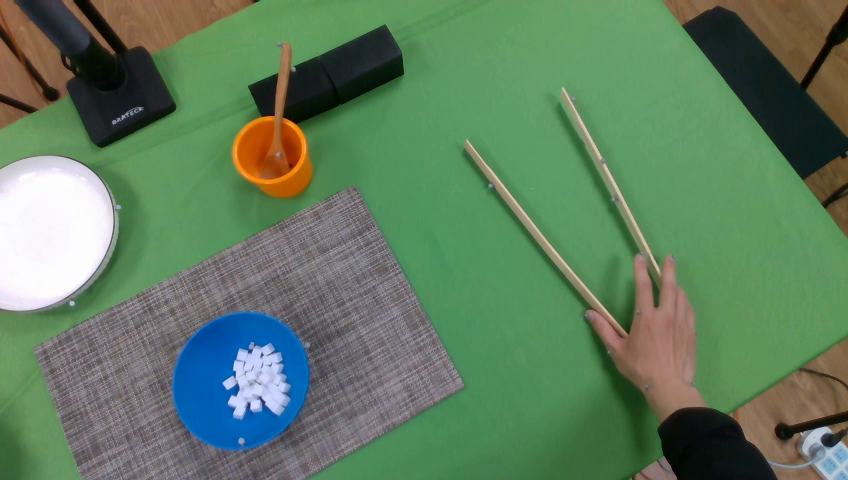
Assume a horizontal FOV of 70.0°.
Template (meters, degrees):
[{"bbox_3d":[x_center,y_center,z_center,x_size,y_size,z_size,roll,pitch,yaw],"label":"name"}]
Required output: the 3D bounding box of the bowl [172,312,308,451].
[{"bbox_3d":[-0.202,0.164,0.703,0.151,0.077,0.150,0,74,1],"label":"bowl"}]

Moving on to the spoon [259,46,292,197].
[{"bbox_3d":[-0.181,-0.143,0.755,0.041,0.021,0.195,20,121,9],"label":"spoon"}]

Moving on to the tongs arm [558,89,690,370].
[{"bbox_3d":[0.242,-0.021,0.774,0.051,0.026,0.382,-24,77,-5],"label":"tongs arm"}]

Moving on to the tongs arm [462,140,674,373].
[{"bbox_3d":[0.171,0.018,0.769,0.028,0.028,0.385,-36,78,-11],"label":"tongs arm"}]

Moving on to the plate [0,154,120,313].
[{"bbox_3d":[-0.491,-0.007,0.778,0.208,0.039,0.206,0,75,1],"label":"plate"}]
